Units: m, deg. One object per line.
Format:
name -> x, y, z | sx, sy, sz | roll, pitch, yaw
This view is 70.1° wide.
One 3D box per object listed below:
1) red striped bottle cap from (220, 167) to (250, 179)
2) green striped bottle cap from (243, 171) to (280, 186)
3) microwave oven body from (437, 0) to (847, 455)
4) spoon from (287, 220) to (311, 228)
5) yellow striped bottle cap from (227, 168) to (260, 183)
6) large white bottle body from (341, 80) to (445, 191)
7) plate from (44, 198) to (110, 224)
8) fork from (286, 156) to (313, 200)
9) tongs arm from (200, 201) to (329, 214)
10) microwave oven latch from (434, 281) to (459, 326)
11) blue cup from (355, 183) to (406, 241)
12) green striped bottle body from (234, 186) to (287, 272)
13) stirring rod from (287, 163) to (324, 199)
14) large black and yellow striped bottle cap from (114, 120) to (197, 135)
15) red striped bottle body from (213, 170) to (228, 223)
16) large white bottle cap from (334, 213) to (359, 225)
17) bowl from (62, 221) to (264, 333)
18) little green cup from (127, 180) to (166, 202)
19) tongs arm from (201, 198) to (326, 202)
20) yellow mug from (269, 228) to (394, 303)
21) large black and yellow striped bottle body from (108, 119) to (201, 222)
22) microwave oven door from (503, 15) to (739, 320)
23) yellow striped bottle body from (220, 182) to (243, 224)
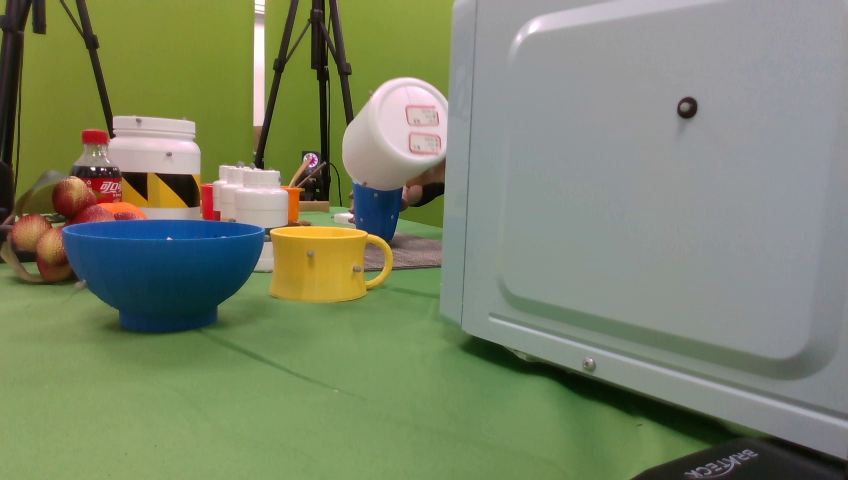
red striped bottle cap -> -0.281, -0.100, 0.901 | 0.044, 0.017, 0.044 | -1, 4, 0
green striped bottle cap -> -0.198, -0.074, 0.736 | 0.044, 0.020, 0.044 | 1, 7, 0
microwave oven body -> 0.279, -0.040, 0.465 | 0.444, 0.260, 0.324 | -3, 9, -41
spoon -> -0.232, -0.027, 1.116 | 0.041, 0.021, 0.193 | -22, 6, 4
yellow striped bottle cap -> -0.243, -0.087, 0.818 | 0.044, 0.018, 0.044 | 4, 6, 0
large white bottle body -> -0.047, -0.147, 0.906 | 0.131, 0.130, 0.184 | -1, -8, -24
plate -> -0.617, -0.056, 1.179 | 0.209, 0.038, 0.209 | 3, 7, 0
fork -> -0.288, -0.117, 1.319 | 0.028, 0.019, 0.207 | -8, 45, 32
tongs arm -> -0.378, -0.079, 1.440 | 0.387, 0.026, 0.050 | -4, 8, -44
microwave oven latch -> 0.044, 0.045, 0.470 | 0.079, 0.029, 0.030 | -3, 8, -39
blue cup -> -0.073, -0.054, 1.006 | 0.093, 0.100, 0.092 | 3, 19, -1
green striped bottle body -> -0.200, -0.023, 0.743 | 0.063, 0.119, 0.063 | 2, 7, 0
stirring rod -> -0.278, -0.105, 1.293 | 0.176, 0.006, 0.014 | -46, 25, -18
large black and yellow striped bottle cap -> -0.407, -0.171, 0.920 | 0.115, 0.019, 0.115 | 2, 9, 0
red striped bottle body -> -0.284, -0.047, 0.909 | 0.063, 0.119, 0.063 | 2, 13, 0
large white bottle cap -> -0.145, -0.048, 1.355 | 0.115, 0.018, 0.115 | 2, 8, 0
bowl -> -0.209, 0.029, 0.496 | 0.151, 0.077, 0.151 | 2, 6, 0
little green cup -> -0.486, -0.086, 1.061 | 0.061, 0.038, 0.061 | 1, 7, 0
tongs arm -> -0.433, -0.090, 1.508 | 0.390, 0.028, 0.028 | -1, 2, -29
yellow mug -> -0.094, 0.023, 0.629 | 0.131, 0.064, 0.099 | 0, 6, -21
large black and yellow striped bottle body -> -0.412, -0.088, 0.930 | 0.131, 0.184, 0.130 | 3, 7, 0
microwave oven door -> 0.218, -0.065, 0.600 | 0.358, 0.243, 0.039 | -4, 10, -41
yellow striped bottle body -> -0.245, -0.036, 0.825 | 0.063, 0.120, 0.063 | 3, 8, 0
